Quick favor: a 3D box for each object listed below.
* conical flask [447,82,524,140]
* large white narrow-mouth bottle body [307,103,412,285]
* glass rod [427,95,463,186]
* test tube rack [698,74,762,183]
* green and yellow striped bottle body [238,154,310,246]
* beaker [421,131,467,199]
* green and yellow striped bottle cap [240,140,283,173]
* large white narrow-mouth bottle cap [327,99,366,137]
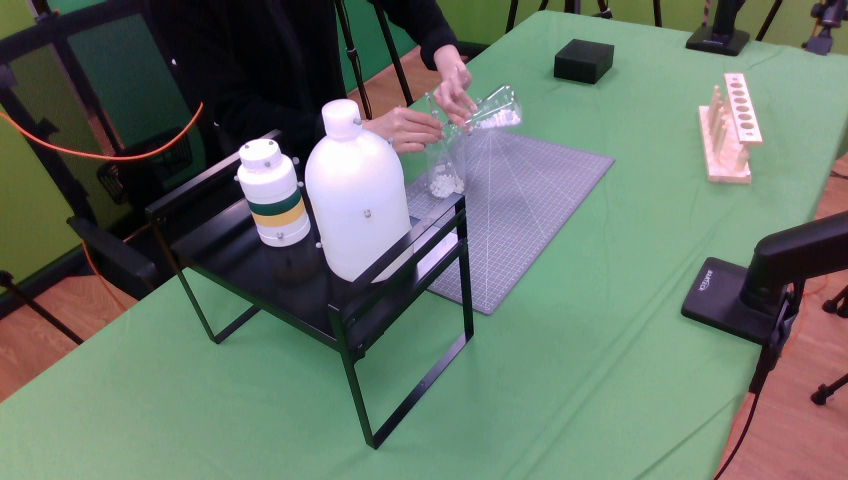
[{"bbox_3d":[0.101,-0.210,1.025,0.122,0.076,0.075,-24,42,1],"label":"conical flask"},{"bbox_3d":[-0.070,-0.051,0.638,0.102,0.195,0.101,-3,40,3],"label":"large white narrow-mouth bottle body"},{"bbox_3d":[0.037,-0.161,1.013,0.008,0.201,0.008,-12,46,13],"label":"glass rod"},{"bbox_3d":[0.547,-0.208,1.095,0.066,0.085,0.242,5,42,15],"label":"test tube rack"},{"bbox_3d":[-0.178,-0.056,0.714,0.063,0.120,0.063,-4,40,4],"label":"green and yellow striped bottle body"},{"bbox_3d":[0.040,-0.130,1.060,0.084,0.100,0.073,-24,44,-20],"label":"beaker"},{"bbox_3d":[-0.183,-0.094,0.679,0.045,0.020,0.045,-4,38,4],"label":"green and yellow striped bottle cap"},{"bbox_3d":[-0.075,-0.118,0.582,0.038,0.024,0.037,-3,40,3],"label":"large white narrow-mouth bottle cap"}]
